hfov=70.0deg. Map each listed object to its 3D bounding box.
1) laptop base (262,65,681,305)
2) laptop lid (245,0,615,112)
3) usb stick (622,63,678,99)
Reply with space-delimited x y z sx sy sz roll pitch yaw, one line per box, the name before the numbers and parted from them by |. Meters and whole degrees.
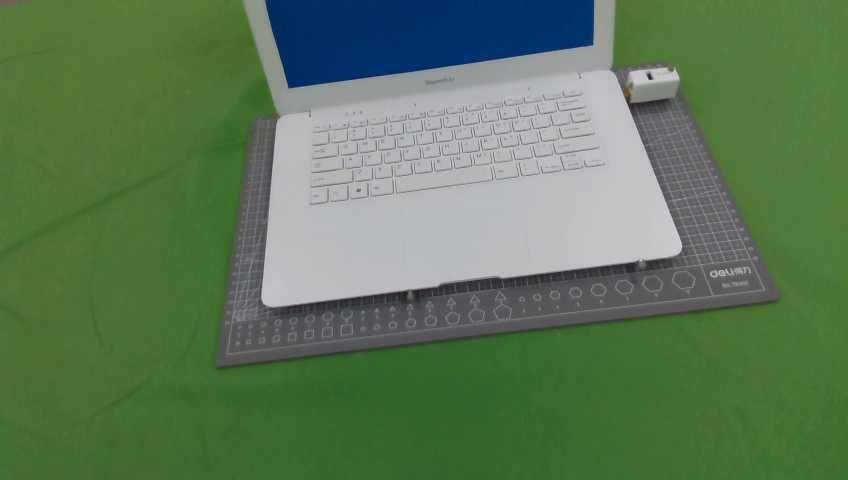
laptop base | 0.029 -0.059 0.569 0.354 0.023 0.233 -8 57 2
laptop lid | 0.005 -0.248 0.567 0.356 0.244 0.013 -9 36 3
usb stick | 0.217 -0.156 0.597 0.059 0.027 0.021 -7 55 5
